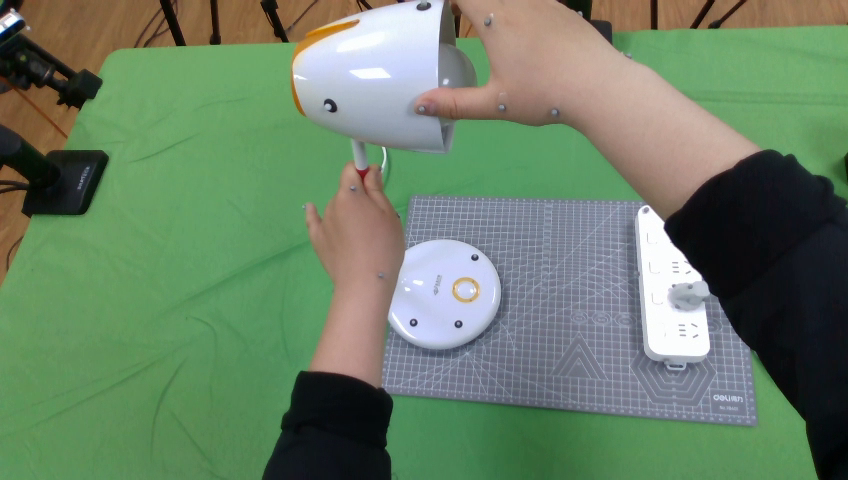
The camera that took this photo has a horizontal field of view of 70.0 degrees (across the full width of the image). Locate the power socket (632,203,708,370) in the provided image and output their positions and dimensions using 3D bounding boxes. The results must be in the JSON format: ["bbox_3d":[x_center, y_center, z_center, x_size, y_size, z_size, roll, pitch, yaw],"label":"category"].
[{"bbox_3d":[0.309,0.051,0.770,0.072,0.033,0.225,1,62,9],"label":"power socket"}]

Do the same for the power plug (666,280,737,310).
[{"bbox_3d":[0.332,0.071,0.735,0.072,0.053,0.035,12,66,11],"label":"power plug"}]

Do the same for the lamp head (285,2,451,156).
[{"bbox_3d":[-0.041,-0.117,0.465,0.122,0.113,0.111,-2,62,13],"label":"lamp head"}]

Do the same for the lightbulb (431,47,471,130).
[{"bbox_3d":[-0.018,-0.115,0.453,0.107,0.060,0.059,7,64,10],"label":"lightbulb"}]

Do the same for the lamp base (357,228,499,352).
[{"bbox_3d":[-0.006,0.038,0.746,0.179,0.182,0.159,-4,61,11],"label":"lamp base"}]
